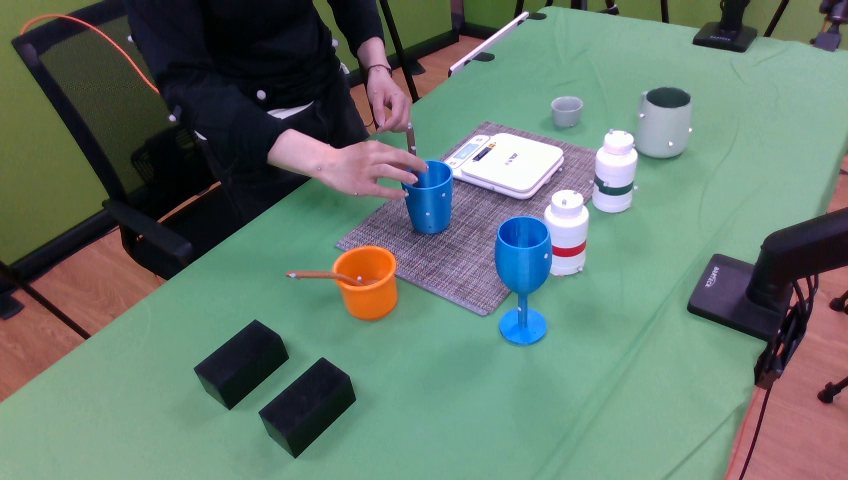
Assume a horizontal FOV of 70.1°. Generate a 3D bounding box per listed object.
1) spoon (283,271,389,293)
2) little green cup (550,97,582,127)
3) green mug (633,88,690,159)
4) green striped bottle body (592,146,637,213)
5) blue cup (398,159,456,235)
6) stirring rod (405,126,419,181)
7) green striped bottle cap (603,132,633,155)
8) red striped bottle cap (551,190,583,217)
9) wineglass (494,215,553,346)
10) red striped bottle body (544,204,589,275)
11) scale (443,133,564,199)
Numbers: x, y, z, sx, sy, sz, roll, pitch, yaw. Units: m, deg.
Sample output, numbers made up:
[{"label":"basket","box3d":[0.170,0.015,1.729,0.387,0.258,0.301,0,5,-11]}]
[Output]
[{"label":"spoon","box3d":[-0.116,0.054,0.824,0.041,0.195,0.021,22,92,37]},{"label":"little green cup","box3d":[0.284,-0.255,1.213,0.061,0.039,0.061,-5,41,5]},{"label":"green mug","box3d":[0.423,-0.217,1.099,0.093,0.105,0.124,-16,41,-9]},{"label":"green striped bottle body","box3d":[0.307,-0.108,0.976,0.063,0.120,0.063,-4,41,4]},{"label":"blue cup","box3d":[0.007,-0.065,0.977,0.092,0.100,0.092,-4,39,4]},{"label":"stirring rod","box3d":[-0.014,-0.099,0.941,0.006,0.177,0.014,18,46,27]},{"label":"green striped bottle cap","box3d":[0.302,-0.149,0.939,0.044,0.020,0.044,-3,40,3]},{"label":"red striped bottle cap","box3d":[0.200,-0.052,0.843,0.044,0.018,0.044,-2,41,2]},{"label":"wineglass","box3d":[0.127,0.055,0.770,0.074,0.173,0.073,-4,40,4]},{"label":"red striped bottle body","box3d":[0.206,-0.011,0.877,0.063,0.120,0.062,-5,41,4]},{"label":"scale","box3d":[0.137,-0.142,1.101,0.199,0.032,0.149,22,48,30]}]
